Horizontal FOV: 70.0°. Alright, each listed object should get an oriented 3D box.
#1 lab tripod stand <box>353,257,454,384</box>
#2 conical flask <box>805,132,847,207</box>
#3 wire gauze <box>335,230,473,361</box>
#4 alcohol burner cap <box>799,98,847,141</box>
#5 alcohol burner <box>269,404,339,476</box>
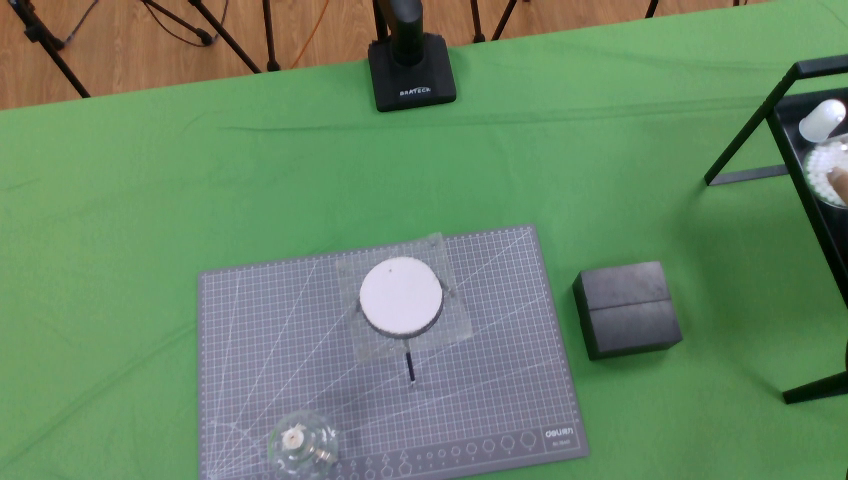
[{"bbox_3d":[-0.021,0.081,0.702,0.148,0.132,0.147,0,66,1],"label":"lab tripod stand"},{"bbox_3d":[0.417,-0.083,0.552,0.075,0.122,0.075,0,73,0],"label":"conical flask"},{"bbox_3d":[-0.024,0.057,0.640,0.125,0.011,0.120,-13,68,-6],"label":"wire gauze"},{"bbox_3d":[0.426,-0.130,0.642,0.034,0.048,0.033,0,68,1],"label":"alcohol burner cap"},{"bbox_3d":[-0.133,0.216,0.660,0.078,0.120,0.077,0,66,-1],"label":"alcohol burner"}]
